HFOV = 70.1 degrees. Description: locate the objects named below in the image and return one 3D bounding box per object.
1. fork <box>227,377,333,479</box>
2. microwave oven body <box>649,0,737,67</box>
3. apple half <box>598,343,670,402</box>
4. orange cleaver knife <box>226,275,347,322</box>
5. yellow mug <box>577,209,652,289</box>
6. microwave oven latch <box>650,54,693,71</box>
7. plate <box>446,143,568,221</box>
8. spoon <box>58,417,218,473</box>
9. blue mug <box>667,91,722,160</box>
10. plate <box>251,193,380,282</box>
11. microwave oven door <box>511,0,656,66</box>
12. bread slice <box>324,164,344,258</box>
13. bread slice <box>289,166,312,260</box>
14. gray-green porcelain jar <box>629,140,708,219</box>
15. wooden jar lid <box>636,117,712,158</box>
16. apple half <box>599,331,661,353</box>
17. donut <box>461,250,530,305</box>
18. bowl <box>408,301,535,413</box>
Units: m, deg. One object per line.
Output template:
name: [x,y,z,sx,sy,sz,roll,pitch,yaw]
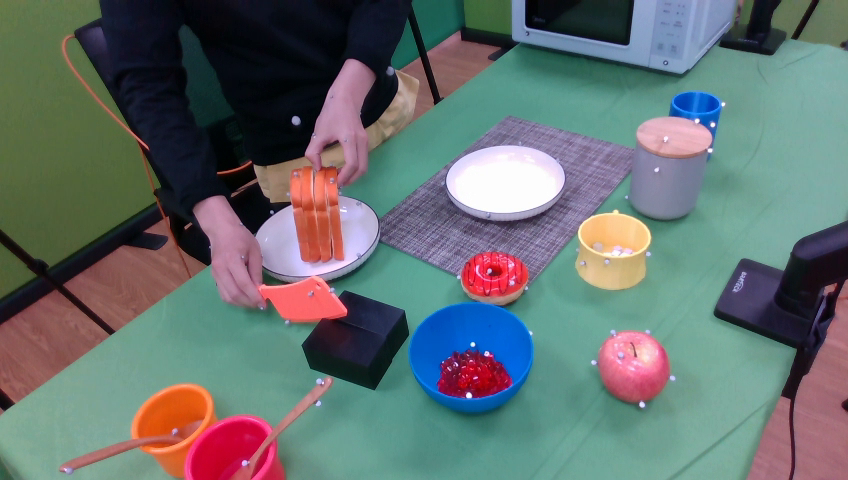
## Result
fork: [-0.163,0.216,0.647,0.207,0.019,0.028,-49,41,16]
microwave oven body: [0.475,-0.602,1.411,0.438,0.261,0.327,23,50,32]
apple half: [0.247,0.161,0.710,0.081,0.075,0.053,2,47,5]
orange cleaver knife: [-0.193,0.083,0.834,0.210,0.077,0.012,-5,32,35]
yellow mug: [0.279,0.004,0.893,0.099,0.064,0.130,5,41,15]
microwave oven latch: [0.531,-0.386,1.301,0.078,0.029,0.030,26,51,33]
plate: [0.142,-0.097,1.045,0.207,0.039,0.206,-4,40,4]
spoon: [-0.304,0.221,0.661,0.041,0.195,0.021,19,92,27]
blue mug: [0.473,-0.207,1.079,0.082,0.106,0.116,4,42,13]
plate: [-0.173,-0.001,0.985,0.209,0.038,0.208,-4,41,4]
microwave oven door: [0.351,-0.539,1.348,0.353,0.245,0.039,24,50,31]
bread slice: [-0.142,-0.050,0.953,0.018,0.135,0.106,-6,42,-7]
bread slice: [-0.193,-0.050,0.946,0.019,0.132,0.104,-6,37,-5]
gray-green porcelain jar: [0.383,-0.105,0.958,0.106,0.127,0.105,-4,41,4]
wooden jar lid: [0.377,-0.151,0.917,0.108,0.021,0.108,-2,41,2]
apple half: [0.249,0.134,0.738,0.081,0.081,0.032,-1,46,7]
donut: [0.103,0.053,0.872,0.099,0.048,0.098,-5,40,4]
bowl: [0.060,0.156,0.739,0.151,0.077,0.150,-4,40,4]
